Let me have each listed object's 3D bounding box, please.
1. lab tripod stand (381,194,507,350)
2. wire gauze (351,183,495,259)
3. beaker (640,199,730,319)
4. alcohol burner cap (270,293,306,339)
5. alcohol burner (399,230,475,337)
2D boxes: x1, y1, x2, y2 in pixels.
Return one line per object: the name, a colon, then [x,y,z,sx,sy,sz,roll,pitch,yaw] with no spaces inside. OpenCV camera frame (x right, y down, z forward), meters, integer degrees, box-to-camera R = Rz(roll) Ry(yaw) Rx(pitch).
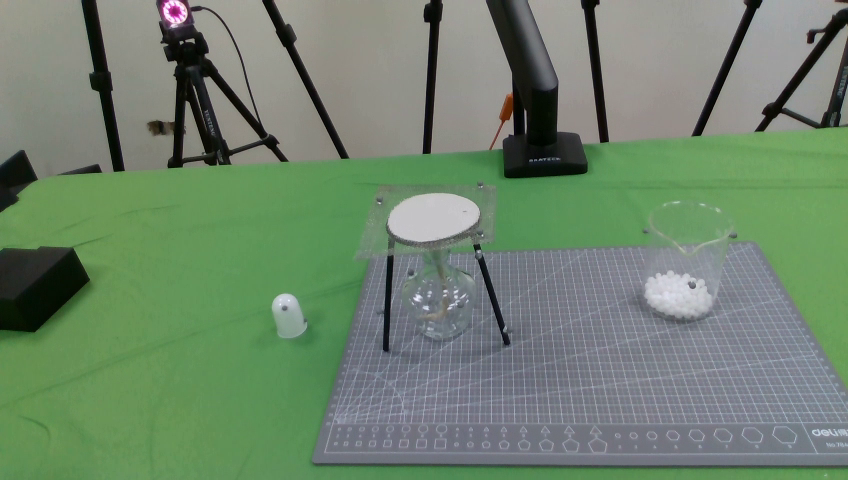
lab tripod stand: [0.012,0.030,0.597,0.148,0.132,0.147,-6,33,4]
wire gauze: [0.003,-0.023,0.556,0.121,0.011,0.124,-3,33,9]
beaker: [0.252,0.022,0.594,0.073,0.101,0.083,6,37,20]
alcohol burner cap: [-0.146,0.078,0.644,0.034,0.048,0.033,-5,35,4]
alcohol burner: [0.012,0.039,0.602,0.078,0.120,0.077,-4,36,3]
